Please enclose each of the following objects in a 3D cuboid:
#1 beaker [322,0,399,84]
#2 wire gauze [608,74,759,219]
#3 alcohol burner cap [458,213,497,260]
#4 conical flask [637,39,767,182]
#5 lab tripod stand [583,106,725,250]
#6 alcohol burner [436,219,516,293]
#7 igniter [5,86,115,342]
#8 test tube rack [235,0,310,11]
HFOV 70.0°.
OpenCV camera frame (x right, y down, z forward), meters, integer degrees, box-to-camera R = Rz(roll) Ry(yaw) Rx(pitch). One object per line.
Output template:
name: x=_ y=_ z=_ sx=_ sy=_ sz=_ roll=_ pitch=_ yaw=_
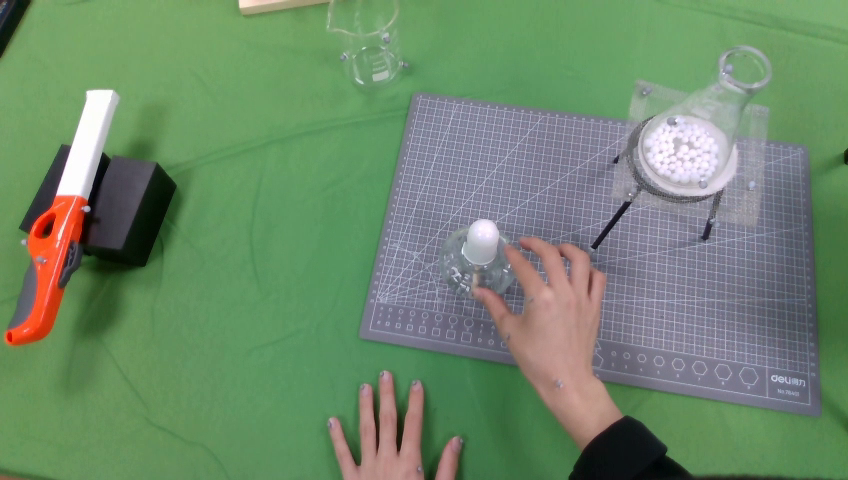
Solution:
beaker: x=-0.069 y=-0.230 z=0.683 sx=0.084 sy=0.101 sz=0.073 roll=-31 pitch=71 yaw=-10
wire gauze: x=0.230 y=-0.083 z=0.529 sx=0.121 sy=0.011 sz=0.124 roll=15 pitch=68 yaw=4
alcohol burner cap: x=0.050 y=-0.006 z=0.546 sx=0.034 sy=0.048 sz=0.033 roll=1 pitch=63 yaw=-2
conical flask: x=0.220 y=-0.103 z=0.473 sx=0.075 sy=0.122 sz=0.075 roll=0 pitch=69 yaw=1
lab tripod stand: x=0.224 y=-0.056 z=0.589 sx=0.148 sy=0.132 sz=0.147 roll=0 pitch=68 yaw=0
alcohol burner: x=0.051 y=0.009 z=0.579 sx=0.078 sy=0.120 sz=0.077 roll=0 pitch=68 yaw=0
igniter: x=-0.358 y=-0.034 z=0.603 sx=0.057 sy=0.025 sz=0.274 roll=1 pitch=68 yaw=6
test tube rack: x=-0.121 y=-0.353 z=0.738 sx=0.242 sy=0.086 sz=0.066 roll=-10 pitch=69 yaw=-3
